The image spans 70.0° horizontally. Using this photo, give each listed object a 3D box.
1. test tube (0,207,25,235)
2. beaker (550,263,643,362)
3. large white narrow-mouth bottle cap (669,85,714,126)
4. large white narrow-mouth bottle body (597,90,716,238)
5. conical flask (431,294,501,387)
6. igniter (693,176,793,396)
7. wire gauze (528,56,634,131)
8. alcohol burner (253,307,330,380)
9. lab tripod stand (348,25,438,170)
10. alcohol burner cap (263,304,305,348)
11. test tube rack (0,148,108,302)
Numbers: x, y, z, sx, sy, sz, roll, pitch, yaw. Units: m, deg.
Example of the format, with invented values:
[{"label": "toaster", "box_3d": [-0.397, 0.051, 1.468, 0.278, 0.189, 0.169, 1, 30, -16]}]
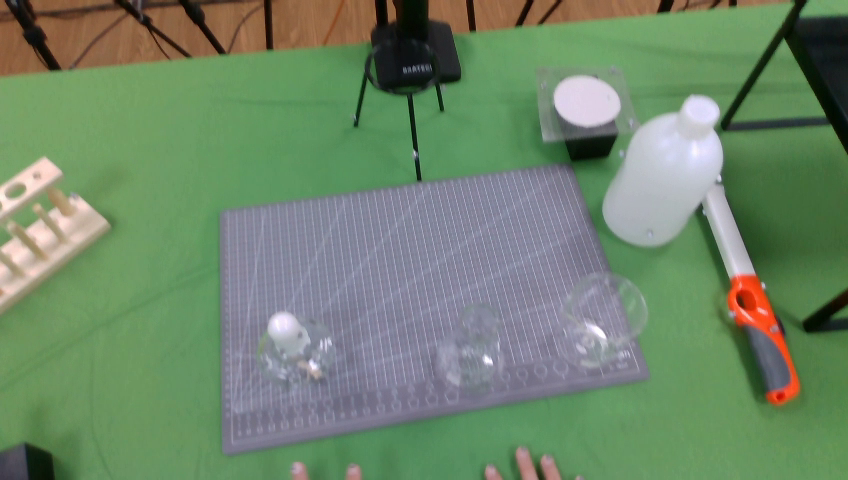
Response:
[{"label": "test tube", "box_3d": [-0.467, -0.045, 0.638, 0.017, 0.151, 0.017, 1, 63, -1]}, {"label": "beaker", "box_3d": [0.171, 0.080, 0.628, 0.084, 0.101, 0.073, -4, 60, -2]}, {"label": "large white narrow-mouth bottle cap", "box_3d": [0.263, -0.133, 0.598, 0.038, 0.024, 0.037, 0, 60, 0]}, {"label": "large white narrow-mouth bottle body", "box_3d": [0.262, -0.089, 0.672, 0.102, 0.196, 0.101, 0, 60, 0]}, {"label": "conical flask", "box_3d": [0.045, 0.095, 0.604, 0.075, 0.123, 0.074, 0, 61, 0]}, {"label": "igniter", "box_3d": [0.361, 0.042, 0.698, 0.057, 0.025, 0.274, 1, 60, -12]}, {"label": "wire gauze", "box_3d": [0.199, -0.193, 0.779, 0.121, 0.011, 0.124, -2, 61, -2]}, {"label": "alcohol burner", "box_3d": [-0.134, 0.096, 0.604, 0.078, 0.120, 0.077, 2, 59, -2]}, {"label": "lab tripod stand", "box_3d": [-0.029, -0.182, 0.754, 0.148, 0.132, 0.147, 1, 61, -2]}, {"label": "alcohol burner cap", "box_3d": [-0.134, 0.079, 0.572, 0.034, 0.048, 0.033, -2, 61, 4]}, {"label": "test tube rack", "box_3d": [-0.484, 0.015, 0.661, 0.066, 0.086, 0.242, 36, 66, 17]}]
